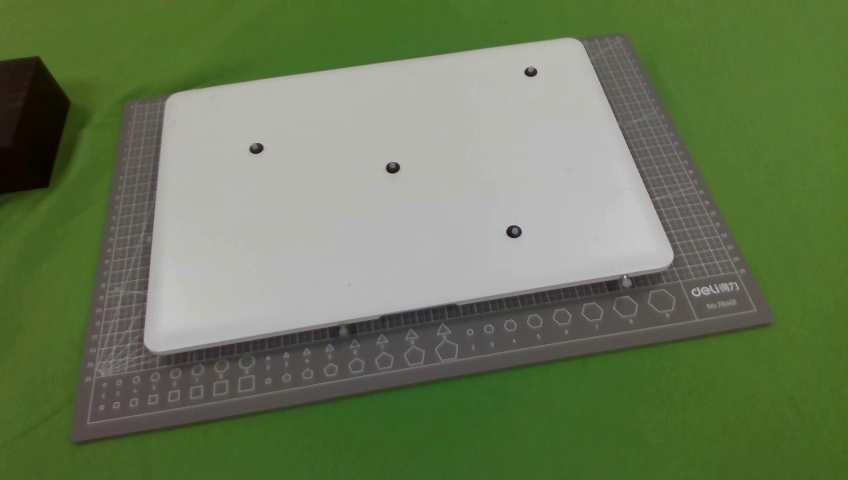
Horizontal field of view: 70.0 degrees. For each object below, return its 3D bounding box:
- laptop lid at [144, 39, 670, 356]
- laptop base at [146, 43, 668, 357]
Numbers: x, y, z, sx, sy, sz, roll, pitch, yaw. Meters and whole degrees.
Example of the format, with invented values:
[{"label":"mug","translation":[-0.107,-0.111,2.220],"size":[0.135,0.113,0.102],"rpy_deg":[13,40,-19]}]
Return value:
[{"label":"laptop lid","translation":[-0.024,-0.050,0.452],"size":[0.357,0.013,0.239],"rpy_deg":[-8,59,-2]},{"label":"laptop base","translation":[-0.024,-0.045,0.463],"size":[0.355,0.023,0.233],"rpy_deg":[-9,60,-4]}]
